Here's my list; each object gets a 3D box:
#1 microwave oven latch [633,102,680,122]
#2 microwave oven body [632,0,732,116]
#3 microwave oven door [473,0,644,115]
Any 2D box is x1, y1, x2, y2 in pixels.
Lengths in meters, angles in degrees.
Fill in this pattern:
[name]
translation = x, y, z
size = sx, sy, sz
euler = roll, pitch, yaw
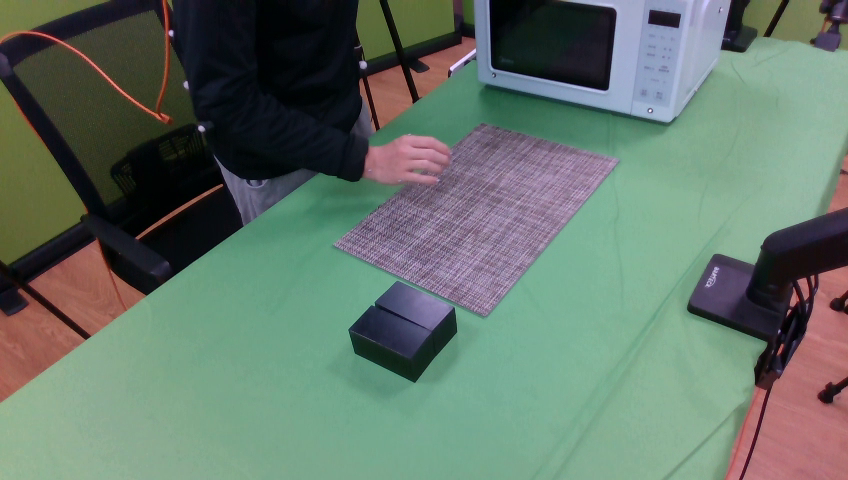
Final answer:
[microwave oven latch]
translation = 0.443, -0.250, 1.157
size = 0.078, 0.029, 0.030
euler = 22, 49, 31
[microwave oven body]
translation = 0.377, -0.463, 1.267
size = 0.438, 0.261, 0.327
euler = 21, 48, 30
[microwave oven door]
translation = 0.257, -0.396, 1.199
size = 0.353, 0.245, 0.039
euler = 21, 48, 29
